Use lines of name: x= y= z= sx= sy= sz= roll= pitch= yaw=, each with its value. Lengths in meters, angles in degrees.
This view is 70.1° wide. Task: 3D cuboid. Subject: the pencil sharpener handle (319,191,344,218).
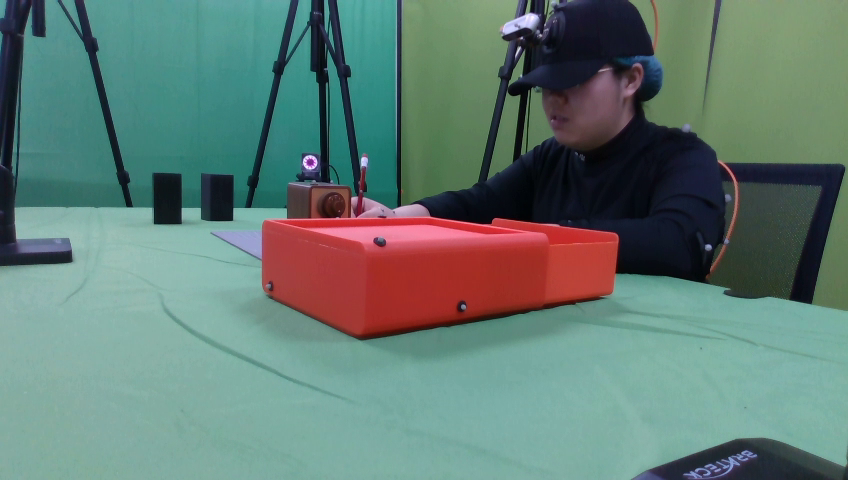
pencil sharpener handle: x=-0.107 y=-0.026 z=0.747 sx=0.036 sy=0.067 sz=0.030 roll=-5 pitch=11 yaw=-36

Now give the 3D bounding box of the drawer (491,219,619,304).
drawer: x=0.071 y=0.021 z=0.669 sx=0.213 sy=0.073 sz=0.193 roll=-3 pitch=10 yaw=-39

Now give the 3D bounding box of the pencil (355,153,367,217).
pencil: x=-0.109 y=-0.071 z=1.022 sx=0.012 sy=0.193 sz=0.012 roll=1 pitch=-34 yaw=1

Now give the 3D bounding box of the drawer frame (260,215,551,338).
drawer frame: x=-0.021 y=0.024 z=0.595 sx=0.215 sy=0.082 sz=0.200 roll=-4 pitch=10 yaw=-38

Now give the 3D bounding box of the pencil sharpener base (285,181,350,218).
pencil sharpener base: x=-0.139 y=-0.021 z=0.789 sx=0.062 sy=0.107 sz=0.076 roll=-2 pitch=9 yaw=-36
